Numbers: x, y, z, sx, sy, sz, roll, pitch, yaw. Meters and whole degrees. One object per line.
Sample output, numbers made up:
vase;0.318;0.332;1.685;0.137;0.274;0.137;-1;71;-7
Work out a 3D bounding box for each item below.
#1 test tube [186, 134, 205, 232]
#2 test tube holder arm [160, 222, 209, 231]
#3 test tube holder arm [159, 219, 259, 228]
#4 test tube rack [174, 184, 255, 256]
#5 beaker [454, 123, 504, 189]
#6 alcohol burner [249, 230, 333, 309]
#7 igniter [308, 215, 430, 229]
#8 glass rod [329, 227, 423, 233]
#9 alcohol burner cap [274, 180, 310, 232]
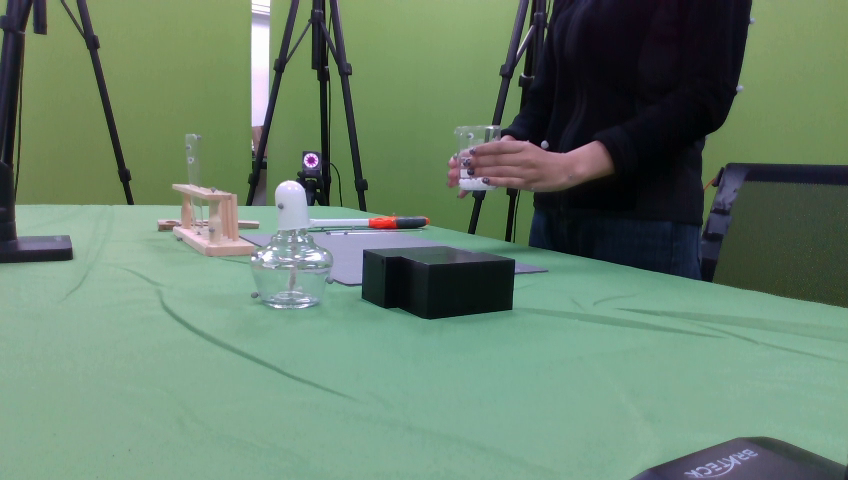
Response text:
test tube;-0.350;-0.087;0.928;0.017;0.150;0.017;-3;5;1
test tube holder arm;-0.423;-0.024;1.075;0.088;0.015;0.010;-3;44;-38
test tube holder arm;-0.390;-0.030;1.107;0.179;0.015;0.013;-3;44;-39
test tube rack;-0.327;-0.036;0.928;0.067;0.085;0.241;-2;9;-32
beaker;0.086;-0.133;0.963;0.083;0.100;0.074;3;10;33
alcohol burner;-0.125;0.004;0.568;0.078;0.119;0.078;2;10;0
igniter;-0.109;-0.037;1.228;0.278;0.025;0.057;-3;-1;-35
glass rod;-0.087;-0.019;1.148;0.201;0.008;0.008;-3;8;-33
alcohol burner cap;-0.125;-0.032;0.563;0.034;0.048;0.034;-5;6;1
